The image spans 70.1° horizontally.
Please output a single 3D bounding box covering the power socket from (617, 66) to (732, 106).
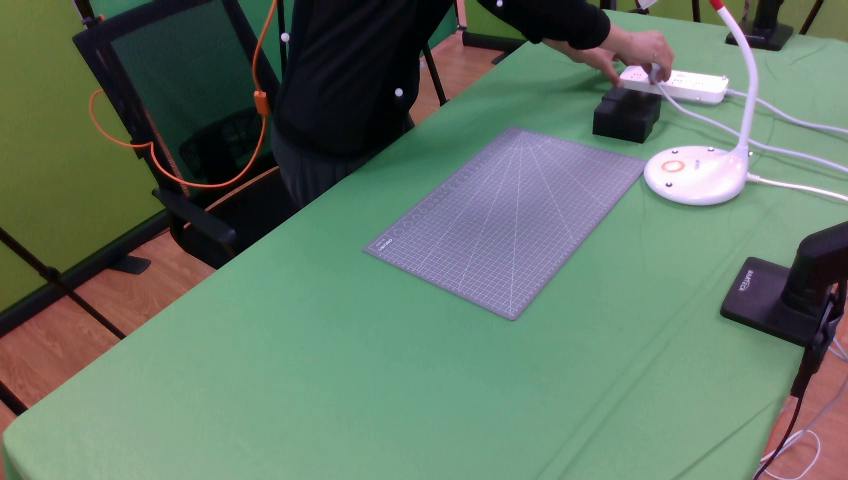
[{"bbox_3d":[0.517,-0.322,1.259,0.225,0.033,0.072,18,49,29],"label":"power socket"}]

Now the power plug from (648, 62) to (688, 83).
[{"bbox_3d":[0.501,-0.339,1.250,0.072,0.053,0.035,8,61,7],"label":"power plug"}]

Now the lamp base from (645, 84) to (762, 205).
[{"bbox_3d":[0.461,-0.170,0.975,0.179,0.181,0.160,2,41,11],"label":"lamp base"}]

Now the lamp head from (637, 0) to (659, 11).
[{"bbox_3d":[0.330,-0.391,0.828,0.122,0.113,0.112,-21,35,25],"label":"lamp head"}]
